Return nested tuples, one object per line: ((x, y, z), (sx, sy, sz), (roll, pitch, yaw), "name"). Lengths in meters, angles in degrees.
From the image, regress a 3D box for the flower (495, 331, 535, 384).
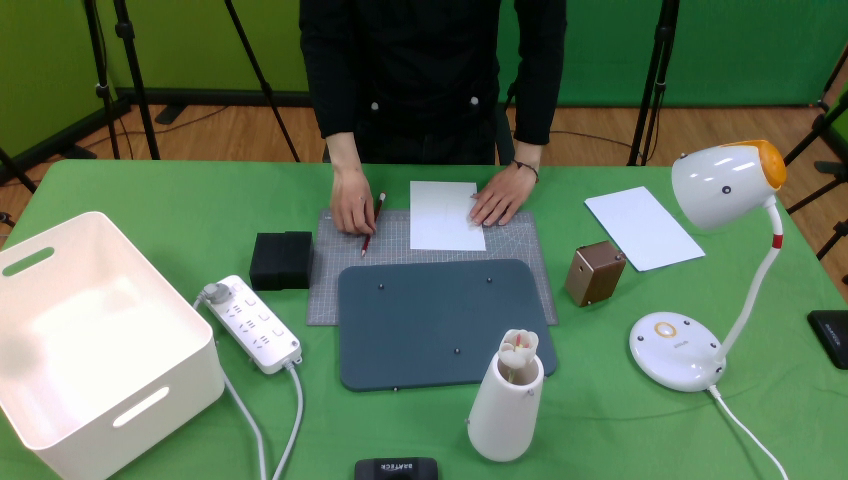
((0.111, 0.187, 0.791), (0.044, 0.363, 0.038), (-32, 65, -10), "flower")

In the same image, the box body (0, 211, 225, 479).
((-0.504, 0.154, 0.916), (0.362, 0.161, 0.254), (36, 54, 27), "box body")

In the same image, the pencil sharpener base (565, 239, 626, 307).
((0.313, 0.060, 1.104), (0.077, 0.107, 0.061), (-15, 49, -18), "pencil sharpener base")

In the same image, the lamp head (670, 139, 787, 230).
((0.415, -0.079, 0.812), (0.113, 0.123, 0.112), (13, 70, -37), "lamp head")

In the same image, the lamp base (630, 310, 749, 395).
((0.447, 0.143, 0.984), (0.161, 0.181, 0.178), (-24, 55, -24), "lamp base")

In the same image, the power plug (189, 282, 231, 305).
((-0.368, 0.097, 1.039), (0.072, 0.053, 0.035), (-26, 55, -20), "power plug")

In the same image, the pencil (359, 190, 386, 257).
((-0.105, -0.036, 1.229), (0.012, 0.012, 0.193), (11, 47, 6), "pencil")

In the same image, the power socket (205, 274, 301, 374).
((-0.296, 0.140, 1.035), (0.072, 0.033, 0.225), (-32, 57, -29), "power socket")

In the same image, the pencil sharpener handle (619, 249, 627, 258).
((0.359, 0.036, 1.113), (0.031, 0.068, 0.036), (-15, 61, -18), "pencil sharpener handle")

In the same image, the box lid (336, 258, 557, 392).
((0.030, 0.140, 1.073), (0.372, 0.015, 0.261), (-3, 47, -7), "box lid")

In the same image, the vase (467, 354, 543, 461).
((0.116, 0.234, 0.861), (0.098, 0.201, 0.097), (1, 47, -1), "vase")
